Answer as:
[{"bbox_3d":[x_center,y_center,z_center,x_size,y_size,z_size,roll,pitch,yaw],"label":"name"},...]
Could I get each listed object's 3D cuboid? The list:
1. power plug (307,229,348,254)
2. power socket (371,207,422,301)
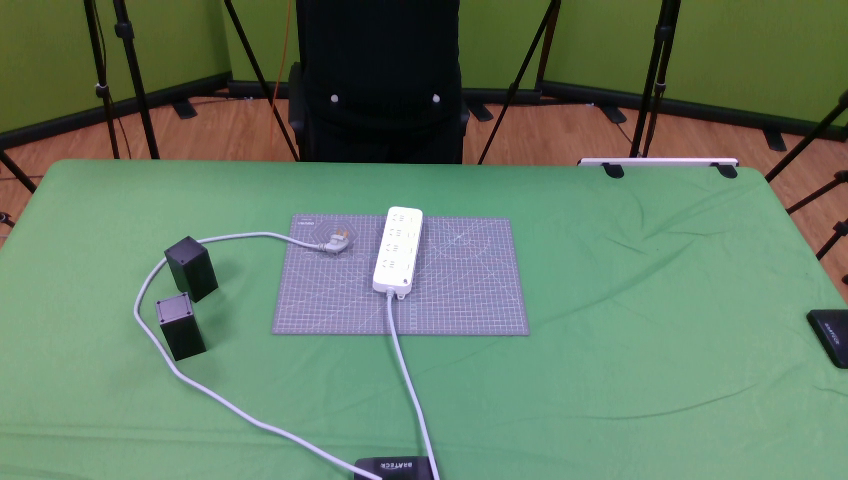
[{"bbox_3d":[-0.183,-0.002,1.167,0.072,0.035,0.052,16,65,-4],"label":"power plug"},{"bbox_3d":[-0.051,0.018,1.165,0.072,0.033,0.225,6,46,3],"label":"power socket"}]
